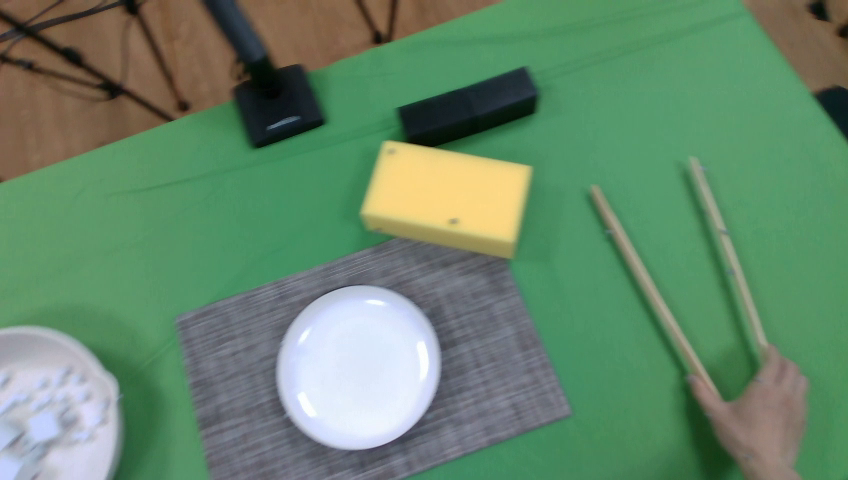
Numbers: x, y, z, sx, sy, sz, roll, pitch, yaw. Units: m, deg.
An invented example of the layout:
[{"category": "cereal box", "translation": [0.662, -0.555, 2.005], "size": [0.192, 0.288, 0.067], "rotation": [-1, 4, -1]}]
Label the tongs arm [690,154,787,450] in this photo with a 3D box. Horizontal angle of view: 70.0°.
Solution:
[{"category": "tongs arm", "translation": [0.385, 0.064, 0.772], "size": [0.051, 0.027, 0.381], "rotation": [-11, 68, 2]}]

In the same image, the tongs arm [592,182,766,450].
[{"category": "tongs arm", "translation": [0.310, 0.085, 0.775], "size": [0.028, 0.028, 0.384], "rotation": [-21, 68, -6]}]

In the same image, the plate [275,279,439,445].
[{"category": "plate", "translation": [-0.083, 0.153, 0.771], "size": [0.207, 0.039, 0.206], "rotation": [-1, 70, 4]}]

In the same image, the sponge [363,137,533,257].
[{"category": "sponge", "translation": [0.034, -0.060, 0.830], "size": [0.206, 0.061, 0.117], "rotation": [12, 69, 9]}]

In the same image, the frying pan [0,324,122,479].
[{"category": "frying pan", "translation": [-0.464, 0.332, 0.699], "size": [0.307, 0.103, 0.483], "rotation": [-27, 62, -5]}]
